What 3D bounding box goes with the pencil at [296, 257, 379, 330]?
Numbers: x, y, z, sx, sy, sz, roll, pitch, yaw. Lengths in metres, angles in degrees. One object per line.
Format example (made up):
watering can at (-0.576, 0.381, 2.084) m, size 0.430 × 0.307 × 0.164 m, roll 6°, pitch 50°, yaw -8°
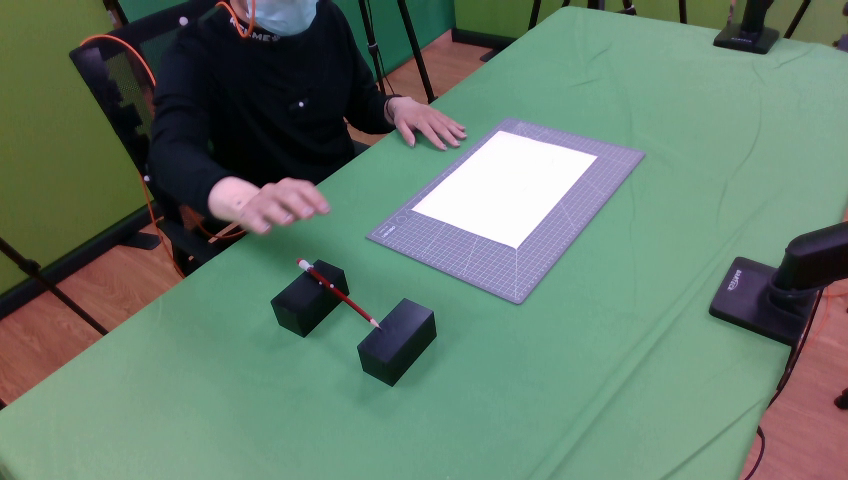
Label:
pencil at (-0.122, 0.072, 0.838) m, size 0.012 × 0.012 × 0.192 m, roll -33°, pitch 49°, yaw -28°
